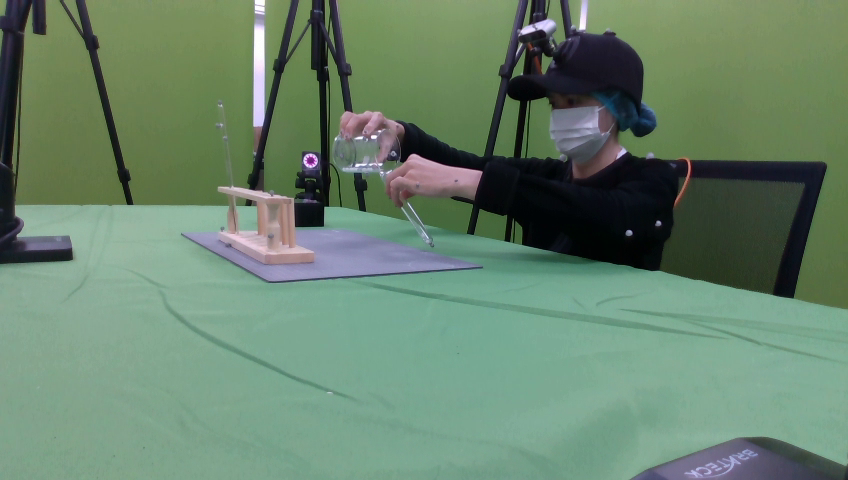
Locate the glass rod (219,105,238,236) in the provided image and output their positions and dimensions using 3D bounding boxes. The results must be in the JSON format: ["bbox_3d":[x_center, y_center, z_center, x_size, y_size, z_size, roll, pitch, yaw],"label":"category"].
[{"bbox_3d":[-0.294,-0.100,0.907,0.008,0.199,0.008,-3,12,1],"label":"glass rod"}]

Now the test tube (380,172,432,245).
[{"bbox_3d":[-0.030,-0.051,0.979,0.017,0.017,0.149,-6,55,-49],"label":"test tube"}]

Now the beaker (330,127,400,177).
[{"bbox_3d":[-0.102,-0.148,1.032,0.100,0.084,0.074,4,-5,32],"label":"beaker"}]

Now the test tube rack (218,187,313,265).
[{"bbox_3d":[-0.235,-0.027,0.872,0.067,0.085,0.241,-2,8,-32],"label":"test tube rack"}]
